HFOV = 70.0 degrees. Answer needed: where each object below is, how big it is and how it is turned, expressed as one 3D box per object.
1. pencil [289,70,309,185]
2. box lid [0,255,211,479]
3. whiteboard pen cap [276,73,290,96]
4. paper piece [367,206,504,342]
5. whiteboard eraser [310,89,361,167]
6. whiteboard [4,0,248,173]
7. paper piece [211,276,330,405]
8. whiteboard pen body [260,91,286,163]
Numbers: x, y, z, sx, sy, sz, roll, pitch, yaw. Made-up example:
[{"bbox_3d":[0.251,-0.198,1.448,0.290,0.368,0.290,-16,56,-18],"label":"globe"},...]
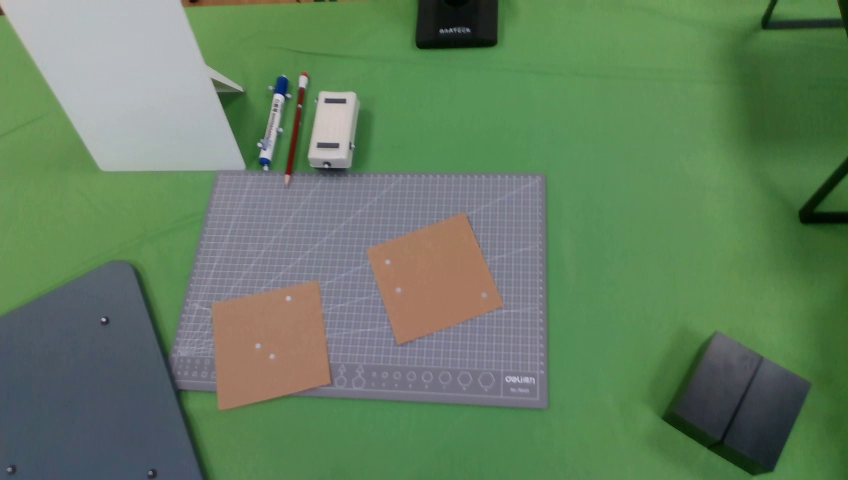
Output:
[{"bbox_3d":[-0.177,-0.162,0.853,0.012,0.012,0.192,-1,65,6],"label":"pencil"},{"bbox_3d":[-0.415,0.211,0.710,0.263,0.015,0.368,-27,66,-6],"label":"box lid"},{"bbox_3d":[-0.205,-0.224,0.880,0.018,0.018,0.033,0,64,7],"label":"whiteboard pen cap"},{"bbox_3d":[0.011,0.040,0.739,0.136,0.009,0.137,-21,67,1],"label":"paper piece"},{"bbox_3d":[-0.120,-0.153,0.826,0.055,0.042,0.112,1,66,8],"label":"whiteboard eraser"},{"bbox_3d":[-0.355,-0.251,0.785,0.217,0.308,0.142,1,46,8],"label":"whiteboard"},{"bbox_3d":[-0.186,0.117,0.726,0.135,0.004,0.134,-12,66,0],"label":"paper piece"},{"bbox_3d":[-0.211,-0.171,0.858,0.017,0.017,0.139,3,65,8],"label":"whiteboard pen body"}]
